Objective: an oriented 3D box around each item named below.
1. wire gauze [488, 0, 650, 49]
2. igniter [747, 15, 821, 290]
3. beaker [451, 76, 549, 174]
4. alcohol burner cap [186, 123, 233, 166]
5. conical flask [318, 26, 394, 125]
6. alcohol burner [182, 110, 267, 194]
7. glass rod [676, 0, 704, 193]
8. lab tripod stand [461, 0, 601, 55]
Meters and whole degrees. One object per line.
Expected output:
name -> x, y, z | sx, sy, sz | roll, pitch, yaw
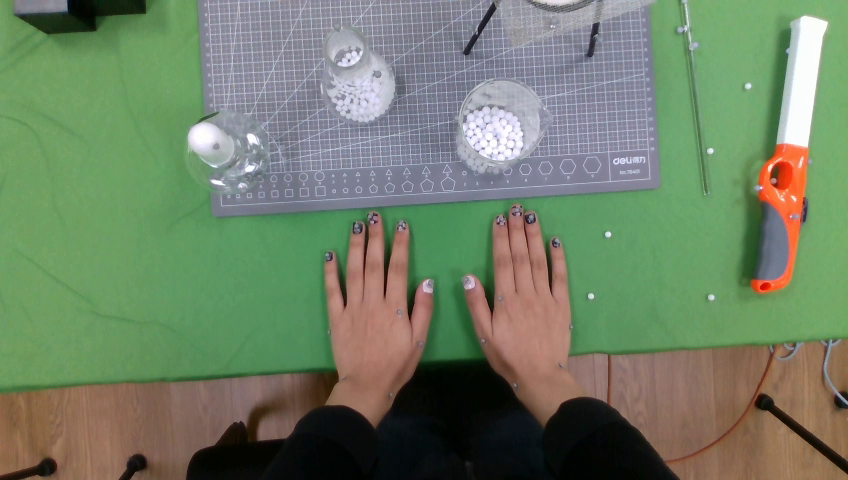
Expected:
wire gauze -> 0.102, -0.226, 0.479 | 0.125, 0.011, 0.121 | -20, 92, 0
igniter -> 0.362, -0.086, 0.608 | 0.057, 0.025, 0.276 | 8, 90, -11
beaker -> 0.065, -0.101, 0.562 | 0.084, 0.100, 0.074 | -6, 90, -2
alcohol burner cap -> -0.183, -0.083, 0.512 | 0.034, 0.048, 0.034 | 0, 87, -6
conical flask -> -0.066, -0.153, 0.547 | 0.075, 0.122, 0.075 | 0, 89, -1
alcohol burner -> -0.185, -0.081, 0.548 | 0.078, 0.119, 0.078 | 0, 91, -3
glass rod -> 0.270, -0.147, 0.615 | 0.008, 0.008, 0.199 | -6, 90, -2
lab tripod stand -> 0.102, -0.223, 0.546 | 0.148, 0.131, 0.148 | 0, 91, -1
